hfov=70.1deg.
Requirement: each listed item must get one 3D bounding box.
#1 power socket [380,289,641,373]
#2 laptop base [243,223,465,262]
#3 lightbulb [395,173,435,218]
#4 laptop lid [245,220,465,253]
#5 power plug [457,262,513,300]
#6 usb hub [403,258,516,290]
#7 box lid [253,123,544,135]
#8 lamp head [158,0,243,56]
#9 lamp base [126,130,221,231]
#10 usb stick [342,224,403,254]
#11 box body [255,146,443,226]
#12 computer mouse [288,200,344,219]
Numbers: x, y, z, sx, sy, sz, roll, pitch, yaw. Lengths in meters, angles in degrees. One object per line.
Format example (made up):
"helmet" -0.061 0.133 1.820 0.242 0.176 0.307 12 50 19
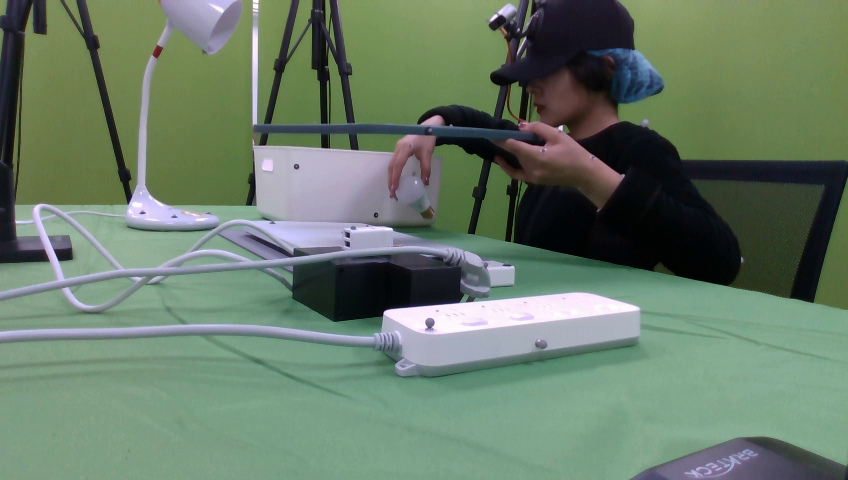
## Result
"power socket" 0.072 0.064 0.461 0.228 0.032 0.072 -2 8 -30
"laptop base" -0.126 0.003 0.946 0.237 0.023 0.352 2 6 -31
"lightbulb" -0.013 -0.083 1.170 0.059 0.059 0.108 11 -33 49
"laptop lid" -0.124 -0.009 0.945 0.243 0.013 0.355 1 7 -29
"power plug" 0.053 0.051 0.544 0.035 0.052 0.072 3 39 -21
"usb hub" 0.042 0.038 0.690 0.126 0.025 0.049 -2 9 -30
"box lid" -0.027 -0.160 0.870 0.262 0.015 0.373 10 14 42
"lamp head" -0.399 -0.397 1.057 0.123 0.112 0.112 27 5 -7
"lamp base" -0.469 -0.112 1.108 0.179 0.180 0.160 0 7 3
"usb stick" -0.047 -0.001 0.567 0.059 0.027 0.021 0 5 -33
"box body" -0.169 -0.120 1.343 0.366 0.160 0.253 -2 8 -31
"computer mouse" -0.234 -0.064 1.313 0.118 0.041 0.062 4 3 -32
